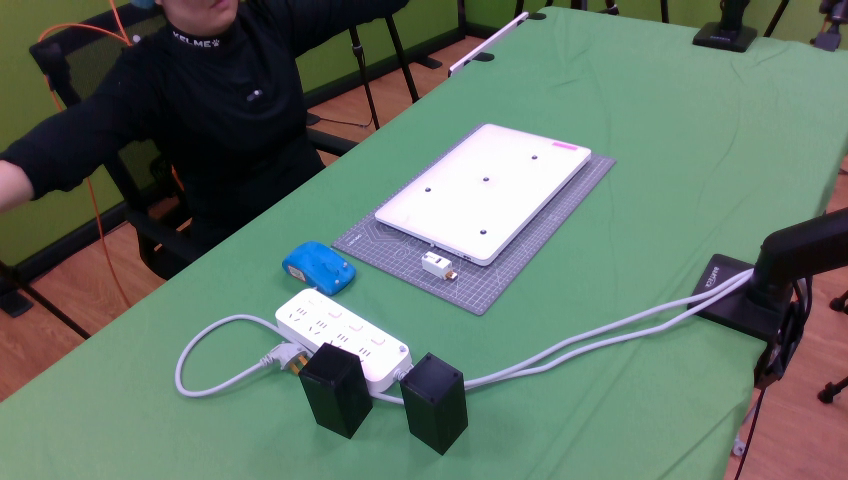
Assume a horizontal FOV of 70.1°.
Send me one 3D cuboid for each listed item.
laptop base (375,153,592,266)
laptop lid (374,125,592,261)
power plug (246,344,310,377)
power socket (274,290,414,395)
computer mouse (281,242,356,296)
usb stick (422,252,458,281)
[{"bbox_3d":[0.112,-0.091,1.063,0.233,0.023,0.355,21,47,34],"label":"laptop base"},{"bbox_3d":[0.109,-0.101,1.057,0.239,0.013,0.358,23,48,34],"label":"laptop lid"},{"bbox_3d":[-0.188,0.168,0.797,0.072,0.035,0.052,-41,69,-6],"label":"power plug"},{"bbox_3d":[-0.114,0.134,0.820,0.225,0.033,0.072,25,49,33],"label":"power socket"},{"bbox_3d":[-0.164,0.041,0.934,0.116,0.041,0.063,27,48,28],"label":"computer mouse"},{"bbox_3d":[0.025,0.042,0.908,0.058,0.027,0.021,27,48,31],"label":"usb stick"}]
